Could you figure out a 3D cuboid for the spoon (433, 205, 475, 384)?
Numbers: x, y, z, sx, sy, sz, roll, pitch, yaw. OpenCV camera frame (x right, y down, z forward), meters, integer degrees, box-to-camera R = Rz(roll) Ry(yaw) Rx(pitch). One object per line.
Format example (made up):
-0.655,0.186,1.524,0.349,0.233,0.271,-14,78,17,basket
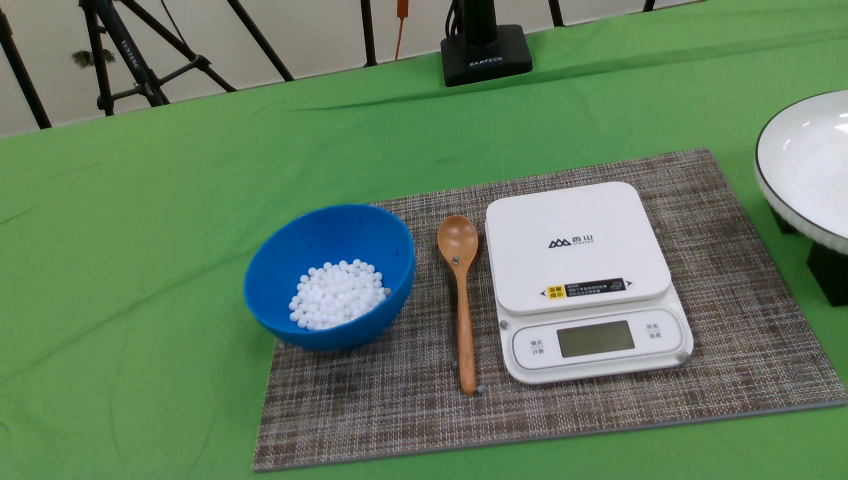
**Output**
0.031,0.041,0.549,0.042,0.022,0.192,2,46,-3,spoon

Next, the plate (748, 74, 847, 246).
0.369,-0.060,0.481,0.209,0.038,0.207,-7,46,8,plate

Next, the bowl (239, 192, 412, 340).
-0.078,0.036,0.543,0.151,0.077,0.150,-7,46,8,bowl

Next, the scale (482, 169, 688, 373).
0.132,0.019,0.537,0.148,0.032,0.199,-9,46,7,scale
